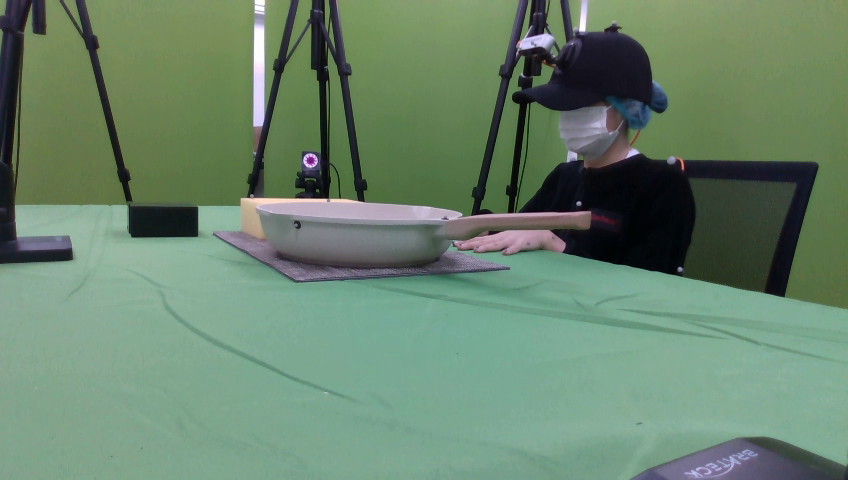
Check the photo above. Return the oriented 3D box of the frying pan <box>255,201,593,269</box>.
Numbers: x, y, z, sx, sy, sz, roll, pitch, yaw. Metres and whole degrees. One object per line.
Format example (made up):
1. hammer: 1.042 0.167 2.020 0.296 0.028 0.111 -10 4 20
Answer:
1. frying pan: -0.011 -0.016 0.802 0.485 0.102 0.308 -2 4 39

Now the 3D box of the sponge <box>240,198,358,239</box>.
1. sponge: -0.210 -0.040 1.079 0.208 0.061 0.117 -2 8 -33
